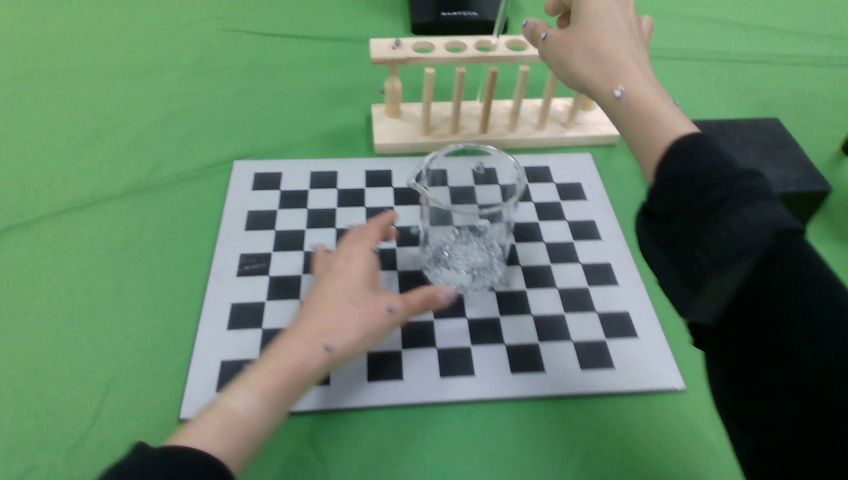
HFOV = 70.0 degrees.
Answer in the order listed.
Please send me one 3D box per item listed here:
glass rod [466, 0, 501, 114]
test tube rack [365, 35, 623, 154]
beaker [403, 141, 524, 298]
[{"bbox_3d":[0.060,-0.195,0.546,0.008,0.201,0.008,6,50,-6],"label":"glass rod"},{"bbox_3d":[0.067,-0.142,0.589,0.243,0.086,0.066,-3,48,-6],"label":"test tube rack"},{"bbox_3d":[0.027,-0.011,0.451,0.084,0.101,0.073,-2,47,-3],"label":"beaker"}]
